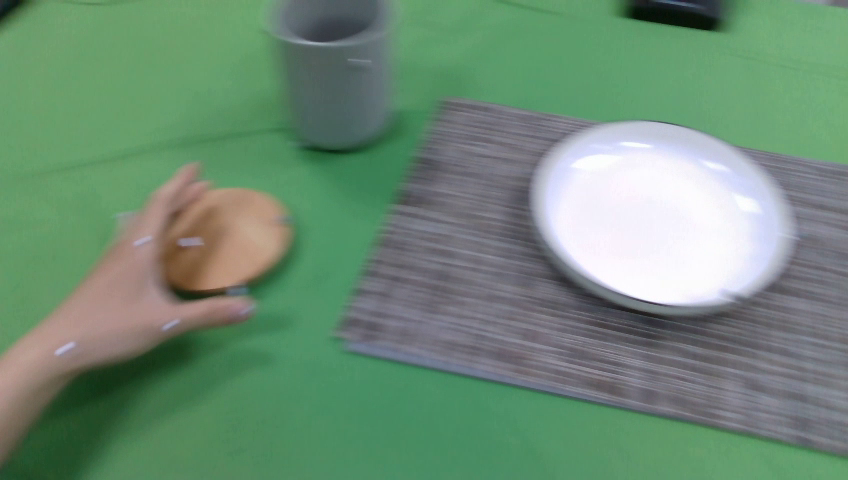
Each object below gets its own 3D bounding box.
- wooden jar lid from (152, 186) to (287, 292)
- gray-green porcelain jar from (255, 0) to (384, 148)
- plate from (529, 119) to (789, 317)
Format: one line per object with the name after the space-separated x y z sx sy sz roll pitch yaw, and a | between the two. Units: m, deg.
-0.169 0.000 0.507 0.108 0.021 0.107 2 53 -2 | wooden jar lid
-0.091 -0.158 0.563 0.106 0.127 0.105 1 52 -1 | gray-green porcelain jar
0.191 -0.020 0.513 0.208 0.039 0.205 1 52 -1 | plate
